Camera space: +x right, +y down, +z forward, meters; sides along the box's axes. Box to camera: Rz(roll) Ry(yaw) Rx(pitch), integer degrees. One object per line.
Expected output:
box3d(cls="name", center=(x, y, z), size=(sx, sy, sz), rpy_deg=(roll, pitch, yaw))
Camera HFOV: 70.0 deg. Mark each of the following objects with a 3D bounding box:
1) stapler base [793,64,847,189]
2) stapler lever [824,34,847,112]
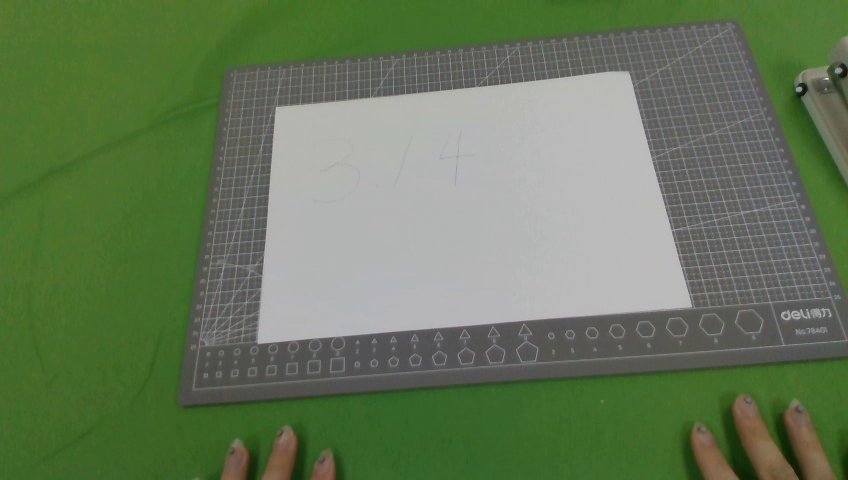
box3d(cls="stapler base", center=(0.322, -0.086, 0.453), size=(0.041, 0.024, 0.129), rpy_deg=(-10, 64, 3))
box3d(cls="stapler lever", center=(0.320, -0.096, 0.429), size=(0.027, 0.040, 0.117), rpy_deg=(-10, 64, 4))
